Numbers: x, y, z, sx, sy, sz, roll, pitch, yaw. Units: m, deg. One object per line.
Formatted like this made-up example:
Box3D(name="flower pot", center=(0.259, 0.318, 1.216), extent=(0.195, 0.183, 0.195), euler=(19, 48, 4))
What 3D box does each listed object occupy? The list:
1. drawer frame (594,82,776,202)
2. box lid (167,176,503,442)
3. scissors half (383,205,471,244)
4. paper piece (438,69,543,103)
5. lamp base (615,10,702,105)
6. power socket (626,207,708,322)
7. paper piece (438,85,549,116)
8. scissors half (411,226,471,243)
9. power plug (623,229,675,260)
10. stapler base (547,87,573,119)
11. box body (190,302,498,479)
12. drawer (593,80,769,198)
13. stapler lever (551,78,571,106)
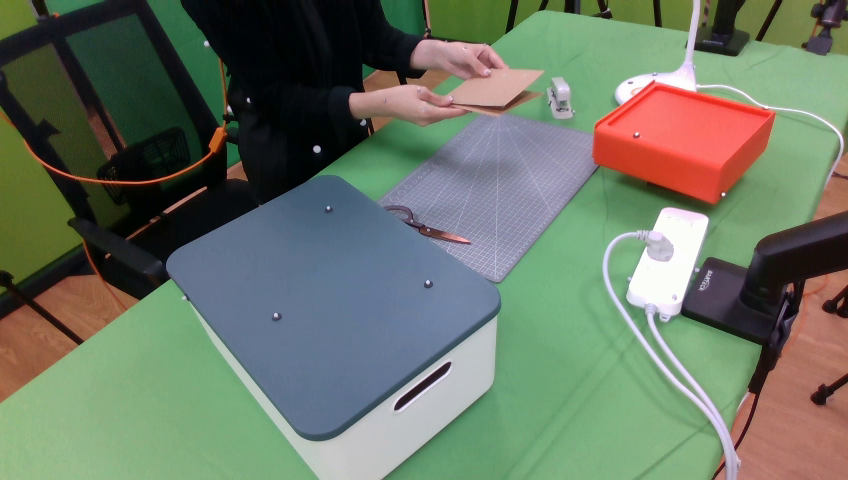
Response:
Box3D(name="drawer frame", center=(0.428, -0.171, 1.006), extent=(0.211, 0.083, 0.202), euler=(29, 51, 36))
Box3D(name="box lid", center=(-0.119, 0.047, 0.714), extent=(0.264, 0.015, 0.368), euler=(-32, 47, -27))
Box3D(name="scissors half", center=(0.001, -0.024, 1.005), extent=(0.174, 0.013, 0.040), euler=(23, 57, 25))
Box3D(name="paper piece", center=(0.113, -0.261, 1.023), extent=(0.137, 0.009, 0.136), euler=(14, 40, 37))
Box3D(name="lamp base", center=(0.484, -0.364, 1.211), extent=(0.180, 0.181, 0.159), euler=(-15, 41, -14))
Box3D(name="power socket", center=(0.360, 0.026, 0.886), extent=(0.072, 0.033, 0.227), euler=(16, 46, 26))
Box3D(name="paper piece", center=(0.117, -0.247, 1.021), extent=(0.136, 0.004, 0.134), euler=(-29, 43, -33))
Box3D(name="scissors half", center=(-0.007, -0.010, 0.993), extent=(0.174, 0.013, 0.040), euler=(8, 47, 14))
Box3D(name="power plug", center=(0.327, 0.007, 0.878), extent=(0.072, 0.053, 0.035), euler=(25, 51, 33))
Box3D(name="stapler base", center=(0.289, -0.299, 1.286), extent=(0.041, 0.024, 0.130), euler=(-1, 39, 2))
Box3D(name="box body", center=(-0.110, 0.103, 0.761), extent=(0.255, 0.161, 0.361), euler=(-33, 46, -27))
Box3D(name="drawer", center=(0.423, -0.174, 1.007), extent=(0.210, 0.073, 0.195), euler=(30, 52, 35))
Box3D(name="stapler lever", center=(0.287, -0.320, 1.270), extent=(0.027, 0.040, 0.117), euler=(-1, 38, 3))
